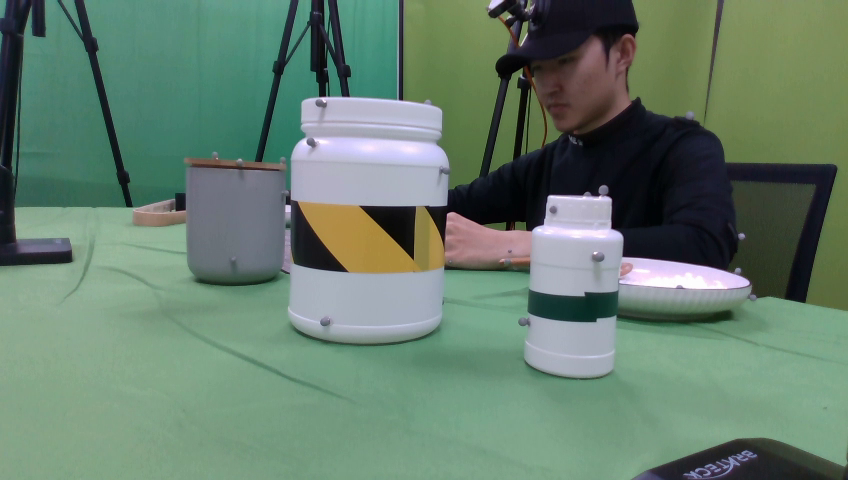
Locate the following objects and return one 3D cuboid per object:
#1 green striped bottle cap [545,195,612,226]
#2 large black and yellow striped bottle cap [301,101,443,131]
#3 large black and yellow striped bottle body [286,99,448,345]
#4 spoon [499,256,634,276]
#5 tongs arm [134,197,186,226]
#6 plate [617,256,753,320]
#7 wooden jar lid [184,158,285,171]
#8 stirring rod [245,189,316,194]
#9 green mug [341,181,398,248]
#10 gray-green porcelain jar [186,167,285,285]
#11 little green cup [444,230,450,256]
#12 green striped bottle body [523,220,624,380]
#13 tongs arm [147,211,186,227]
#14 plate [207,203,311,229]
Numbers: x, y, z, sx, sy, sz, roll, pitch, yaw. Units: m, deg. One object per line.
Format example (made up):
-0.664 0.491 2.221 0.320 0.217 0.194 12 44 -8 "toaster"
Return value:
0.106 -0.020 0.414 0.044 0.020 0.044 2 4 0 "green striped bottle cap"
-0.042 -0.099 0.491 0.115 0.019 0.115 1 8 0 "large black and yellow striped bottle cap"
-0.047 -0.018 0.501 0.131 0.184 0.130 2 7 0 "large black and yellow striped bottle body"
0.162 0.027 0.679 0.195 0.021 0.041 8 2 -30 "spoon"
-0.556 -0.066 1.320 0.051 0.026 0.384 7 7 -5 "tongs arm"
0.234 0.049 0.650 0.209 0.038 0.209 2 7 0 "plate"
-0.210 -0.078 0.674 0.108 0.020 0.108 5 6 0 "wooden jar lid"
-0.351 -0.120 1.489 0.177 0.014 0.006 -2 5 -29 "stirring rod"
-0.090 -0.044 0.997 0.093 0.105 0.125 1 7 -8 "green mug"
-0.212 -0.017 0.682 0.106 0.126 0.106 2 7 0 "gray-green porcelain jar"
0.007 0.003 0.916 0.061 0.038 0.061 3 7 0 "little green cup"
0.104 0.031 0.421 0.063 0.119 0.063 2 7 0 "green striped bottle body"
-0.478 -0.059 1.321 0.028 0.028 0.388 12 8 7 "tongs arm"
-0.342 -0.050 1.259 0.208 0.039 0.207 2 7 0 "plate"
